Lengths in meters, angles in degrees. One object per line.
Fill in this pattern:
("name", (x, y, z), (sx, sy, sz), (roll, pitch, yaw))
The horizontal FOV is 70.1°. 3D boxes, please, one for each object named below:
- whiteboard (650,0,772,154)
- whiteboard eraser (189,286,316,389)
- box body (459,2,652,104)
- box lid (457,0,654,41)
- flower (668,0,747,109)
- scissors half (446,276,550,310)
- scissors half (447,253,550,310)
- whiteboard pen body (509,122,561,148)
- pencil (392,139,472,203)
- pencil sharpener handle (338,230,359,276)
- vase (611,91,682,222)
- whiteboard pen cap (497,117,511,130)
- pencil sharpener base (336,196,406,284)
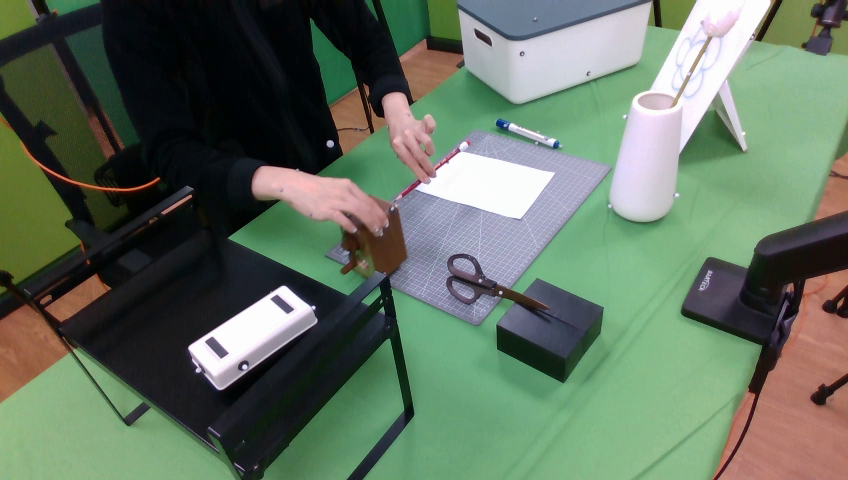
("whiteboard", (0.543, -0.298, 1.076), (0.144, 0.305, 0.216), (12, 40, -7))
("whiteboard eraser", (-0.166, 0.096, 0.593), (0.113, 0.042, 0.055), (-36, 47, -29))
("box body", (0.291, -0.465, 1.371), (0.365, 0.161, 0.252), (-22, 42, -16))
("box lid", (0.285, -0.522, 1.323), (0.373, 0.015, 0.261), (-22, 43, -16))
("flower", (0.354, -0.187, 0.879), (0.038, 0.362, 0.044), (30, 48, 14))
("scissors half", (0.098, 0.077, 0.827), (0.174, 0.040, 0.013), (6, 14, 44))
("scissors half", (0.098, 0.058, 0.821), (0.173, 0.040, 0.013), (27, 33, 37))
("whiteboard pen body", (0.208, -0.212, 1.195), (0.139, 0.017, 0.017), (30, 52, 33))
("pencil", (0.015, -0.114, 0.989), (0.012, 0.012, 0.194), (28, 55, 34))
("pencil sharpener handle", (-0.113, 0.021, 0.861), (0.035, 0.068, 0.031), (28, 52, 29))
("vase", (0.348, -0.125, 0.935), (0.098, 0.201, 0.097), (-3, 40, 3))
("whiteboard pen cap", (0.165, -0.235, 1.227), (0.033, 0.018, 0.018), (31, 53, 31))
("pencil sharpener base", (-0.078, 0.002, 0.897), (0.061, 0.107, 0.077), (25, 51, 32))
